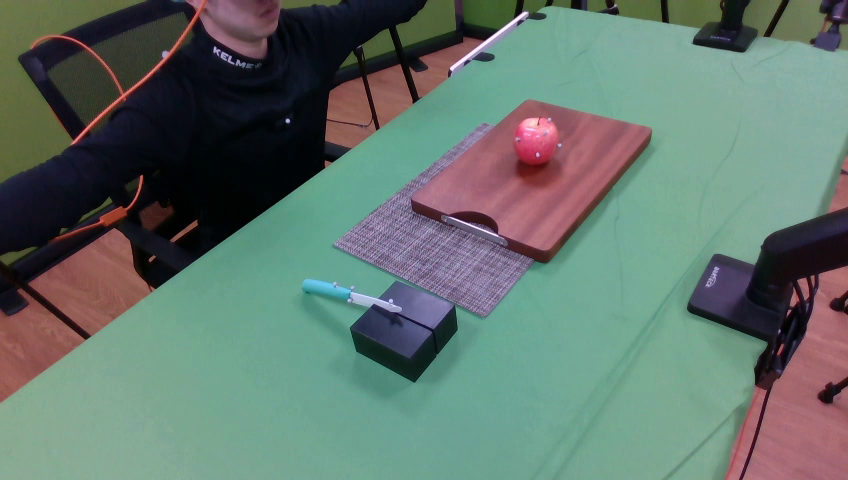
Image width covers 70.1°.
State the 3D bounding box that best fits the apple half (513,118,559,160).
[{"bbox_3d":[0.203,-0.180,1.067,0.080,0.075,0.053,12,40,27],"label":"apple half"}]

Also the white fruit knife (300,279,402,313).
[{"bbox_3d":[-0.107,0.078,0.847,0.205,0.027,0.016,8,42,39],"label":"white fruit knife"}]

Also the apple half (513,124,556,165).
[{"bbox_3d":[0.185,-0.157,1.041,0.081,0.081,0.033,14,41,24],"label":"apple half"}]
